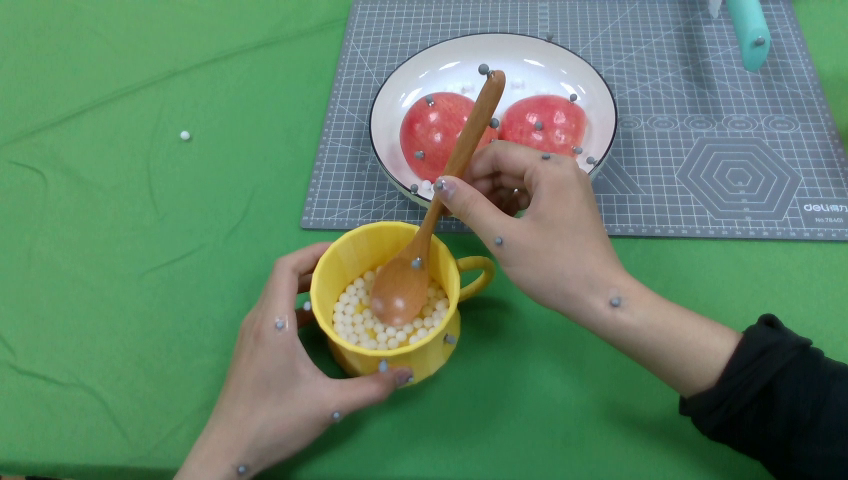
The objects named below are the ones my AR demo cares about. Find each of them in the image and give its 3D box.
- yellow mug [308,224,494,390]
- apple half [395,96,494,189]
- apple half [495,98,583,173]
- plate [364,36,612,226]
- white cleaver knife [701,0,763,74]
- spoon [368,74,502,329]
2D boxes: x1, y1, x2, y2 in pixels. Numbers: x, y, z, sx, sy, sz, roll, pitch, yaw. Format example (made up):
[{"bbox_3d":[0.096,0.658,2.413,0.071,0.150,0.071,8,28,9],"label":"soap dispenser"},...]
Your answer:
[{"bbox_3d":[-0.011,0.042,0.427,0.131,0.064,0.099,-18,62,-10],"label":"yellow mug"},{"bbox_3d":[0.015,-0.090,0.506,0.081,0.054,0.074,-36,58,-16],"label":"apple half"},{"bbox_3d":[0.097,-0.097,0.514,0.081,0.033,0.080,-2,59,4],"label":"apple half"},{"bbox_3d":[0.053,-0.094,0.524,0.209,0.038,0.207,-2,57,4],"label":"plate"},{"bbox_3d":[0.283,-0.254,0.588,0.021,0.066,0.284,-1,53,11],"label":"white cleaver knife"},{"bbox_3d":[0.007,-0.016,0.393,0.041,0.194,0.021,33,34,13],"label":"spoon"}]
